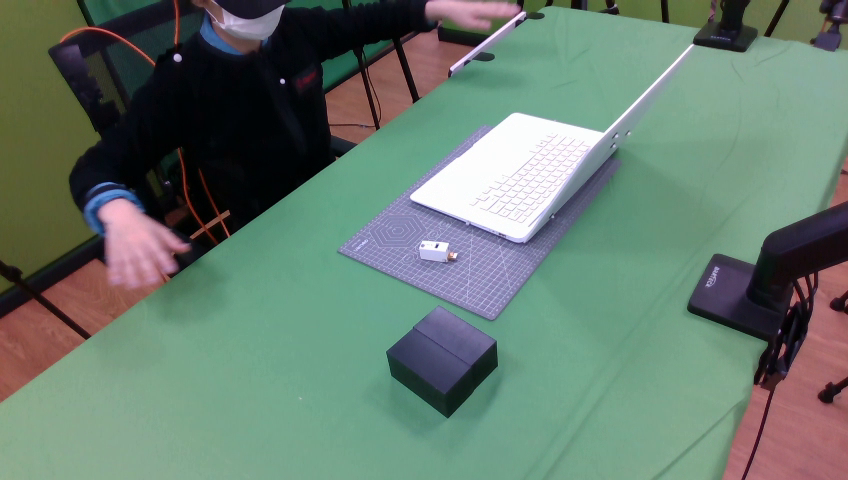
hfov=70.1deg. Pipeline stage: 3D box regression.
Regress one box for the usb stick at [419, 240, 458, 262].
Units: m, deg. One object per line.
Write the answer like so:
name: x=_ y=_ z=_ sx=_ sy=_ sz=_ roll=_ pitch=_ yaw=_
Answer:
usb stick: x=0.023 y=0.018 z=0.936 sx=0.059 sy=0.027 sz=0.021 roll=9 pitch=42 yaw=15

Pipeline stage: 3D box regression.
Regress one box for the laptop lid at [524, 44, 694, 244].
laptop lid: x=0.290 y=-0.151 z=0.941 sx=0.013 sy=0.241 sz=0.358 roll=40 pitch=54 yaw=12

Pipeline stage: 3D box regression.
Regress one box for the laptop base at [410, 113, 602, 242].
laptop base: x=0.171 y=-0.127 z=1.096 sx=0.233 sy=0.023 sz=0.355 roll=21 pitch=47 yaw=33
